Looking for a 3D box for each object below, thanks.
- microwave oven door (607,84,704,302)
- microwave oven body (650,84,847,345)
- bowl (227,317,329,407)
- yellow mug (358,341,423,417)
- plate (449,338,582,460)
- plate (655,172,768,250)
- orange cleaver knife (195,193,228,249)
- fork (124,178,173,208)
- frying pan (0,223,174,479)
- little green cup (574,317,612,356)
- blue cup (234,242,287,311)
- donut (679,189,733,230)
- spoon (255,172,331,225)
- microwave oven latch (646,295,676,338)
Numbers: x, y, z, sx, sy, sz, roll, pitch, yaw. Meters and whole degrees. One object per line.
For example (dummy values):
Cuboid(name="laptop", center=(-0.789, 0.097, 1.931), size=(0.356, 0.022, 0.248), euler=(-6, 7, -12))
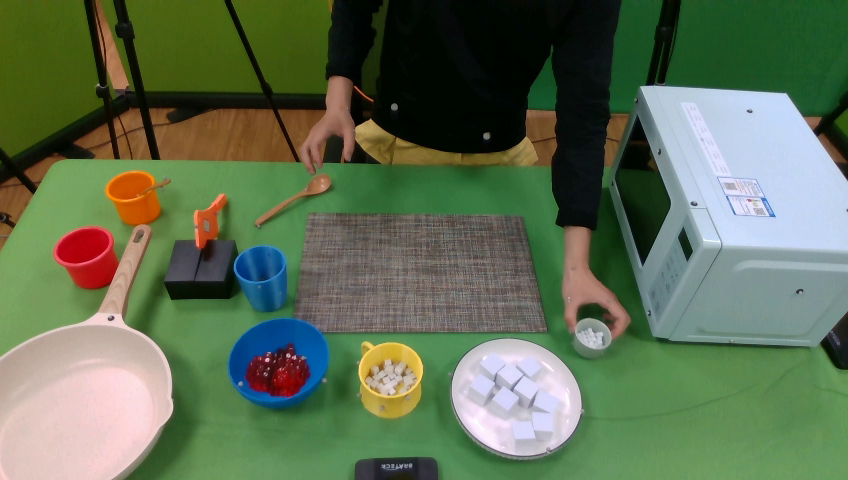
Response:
Cuboid(name="microwave oven door", center=(0.424, -0.096, 1.138), size=(0.039, 0.245, 0.353), euler=(2, 46, -1))
Cuboid(name="microwave oven body", center=(0.569, -0.054, 1.116), size=(0.326, 0.261, 0.439), euler=(2, 46, -1))
Cuboid(name="bowl", center=(-0.222, 0.203, 0.947), size=(0.151, 0.077, 0.150), euler=(2, 46, -2))
Cuboid(name="yellow mug", center=(-0.062, 0.209, 0.961), size=(0.100, 0.064, 0.130), euler=(-29, 54, -27))
Cuboid(name="plate", center=(0.141, 0.251, 0.955), size=(0.208, 0.039, 0.206), euler=(2, 46, -2))
Cuboid(name="plate", center=(0.556, -0.053, 1.186), size=(0.209, 0.038, 0.208), euler=(2, 45, -1))
Cuboid(name="orange cleaver knife", center=(-0.406, -0.041, 1.163), size=(0.012, 0.077, 0.210), euler=(0, 18, -3))
Cuboid(name="fork", center=(-0.525, -0.090, 1.154), size=(0.207, 0.019, 0.028), euler=(-17, 27, 45))
Cuboid(name="frying pan", center=(-0.504, 0.169, 0.941), size=(0.307, 0.103, 0.485), euler=(5, 54, -1))
Cuboid(name="little green cup", center=(0.285, 0.166, 1.032), size=(0.061, 0.039, 0.061), euler=(2, 45, -2))
Cuboid(name="blue cup", center=(-0.276, 0.071, 1.052), size=(0.093, 0.101, 0.092), euler=(1, 48, -1))
Cuboid(name="donut", center=(0.545, -0.062, 1.176), size=(0.099, 0.048, 0.098), euler=(0, 45, 0))
Cuboid(name="spoon", center=(-0.272, -0.087, 1.257), size=(0.041, 0.022, 0.193), euler=(43, 57, 17))
Cuboid(name="microwave oven latch", center=(0.412, 0.133, 1.061), size=(0.030, 0.029, 0.078), euler=(3, 46, 0))
